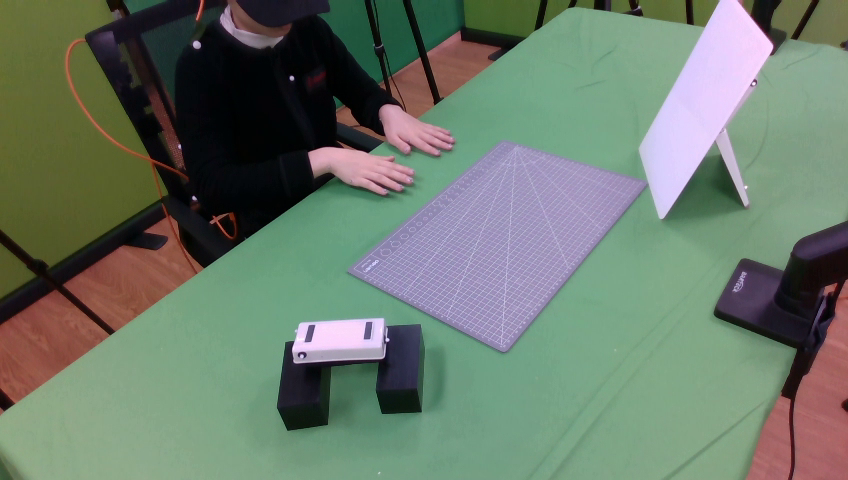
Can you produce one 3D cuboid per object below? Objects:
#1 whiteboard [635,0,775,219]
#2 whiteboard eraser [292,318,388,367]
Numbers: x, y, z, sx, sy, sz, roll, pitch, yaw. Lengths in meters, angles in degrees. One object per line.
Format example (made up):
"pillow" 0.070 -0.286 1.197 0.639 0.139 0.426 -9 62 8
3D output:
"whiteboard" 0.486 -0.192 0.956 0.144 0.305 0.216 14 41 -4
"whiteboard eraser" -0.103 0.128 0.748 0.113 0.042 0.055 -3 38 2
